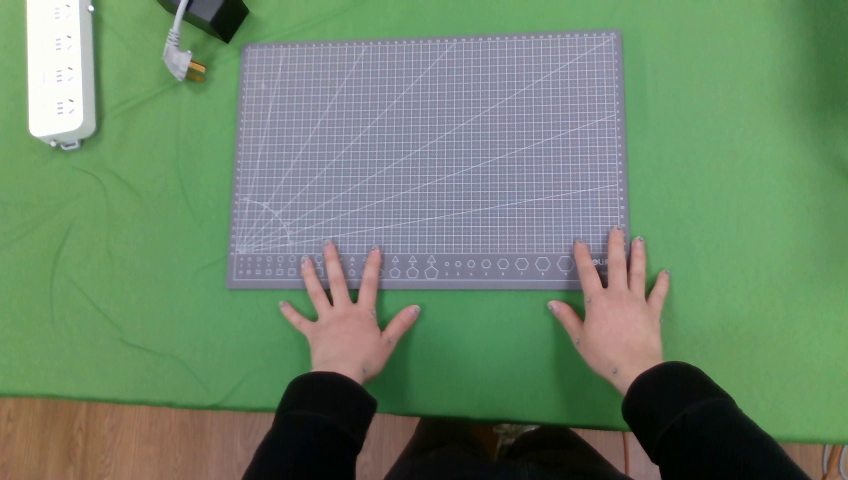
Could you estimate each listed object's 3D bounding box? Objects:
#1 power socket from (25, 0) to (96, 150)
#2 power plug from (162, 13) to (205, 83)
[{"bbox_3d":[-0.449,-0.224,0.747,0.072,0.033,0.225,-9,79,4],"label":"power socket"},{"bbox_3d":[-0.280,-0.220,0.715,0.053,0.073,0.035,19,37,-25],"label":"power plug"}]
